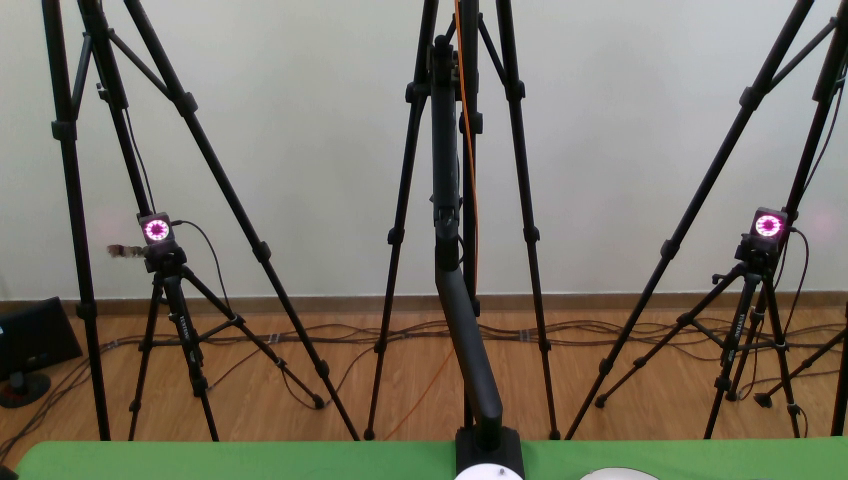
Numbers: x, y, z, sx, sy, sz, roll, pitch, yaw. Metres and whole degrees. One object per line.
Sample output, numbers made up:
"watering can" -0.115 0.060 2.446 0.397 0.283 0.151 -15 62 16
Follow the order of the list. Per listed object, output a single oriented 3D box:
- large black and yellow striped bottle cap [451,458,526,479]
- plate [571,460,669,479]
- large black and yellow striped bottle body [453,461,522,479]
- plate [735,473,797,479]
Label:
"large black and yellow striped bottle cap" 0.090 0.353 0.838 0.115 0.019 0.114 -1 34 1
"plate" 0.326 0.449 0.969 0.209 0.038 0.207 -2 33 1
"large black and yellow striped bottle body" 0.092 0.425 0.883 0.131 0.185 0.129 -1 33 1
"plate" 0.566 0.460 0.940 0.208 0.039 0.206 -1 32 1
